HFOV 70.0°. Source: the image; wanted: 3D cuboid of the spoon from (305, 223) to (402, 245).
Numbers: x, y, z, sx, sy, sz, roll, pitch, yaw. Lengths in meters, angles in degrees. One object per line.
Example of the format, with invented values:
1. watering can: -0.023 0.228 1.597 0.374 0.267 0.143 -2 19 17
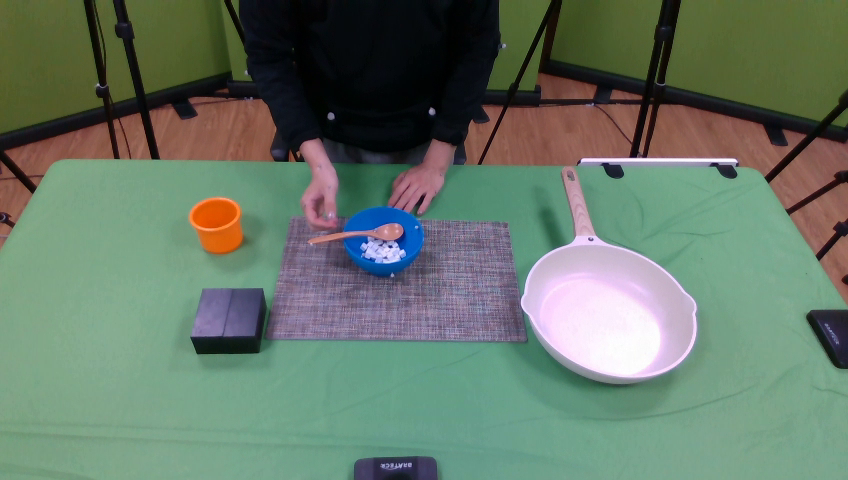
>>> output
1. spoon: -0.126 -0.010 1.109 0.194 0.022 0.041 -5 49 -35

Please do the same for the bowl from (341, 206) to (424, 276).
1. bowl: -0.079 0.014 1.133 0.151 0.077 0.150 2 46 -2

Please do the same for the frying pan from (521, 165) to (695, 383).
1. frying pan: 0.312 0.044 1.123 0.307 0.103 0.484 1 55 -5
